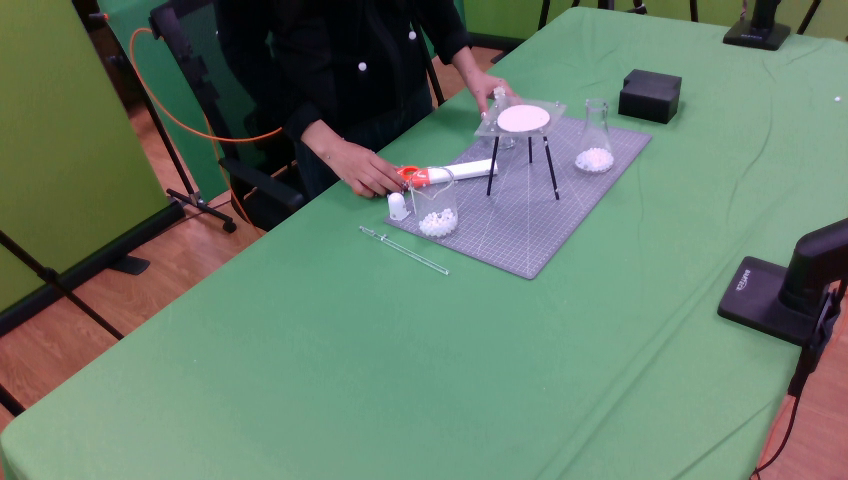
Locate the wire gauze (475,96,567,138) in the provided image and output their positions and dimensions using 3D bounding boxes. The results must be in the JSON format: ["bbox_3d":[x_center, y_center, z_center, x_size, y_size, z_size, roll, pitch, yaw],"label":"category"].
[{"bbox_3d":[0.161,-0.201,0.994,0.121,0.011,0.125,11,43,23],"label":"wire gauze"}]

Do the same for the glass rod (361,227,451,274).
[{"bbox_3d":[-0.033,0.015,0.985,0.198,0.008,0.008,26,52,34],"label":"glass rod"}]

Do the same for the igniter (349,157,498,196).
[{"bbox_3d":[-0.002,-0.117,1.118,0.276,0.025,0.057,-9,53,2],"label":"igniter"}]

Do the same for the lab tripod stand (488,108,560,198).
[{"bbox_3d":[0.173,-0.150,1.037,0.148,0.132,0.147,-6,38,6],"label":"lab tripod stand"}]

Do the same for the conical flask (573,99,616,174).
[{"bbox_3d":[0.302,-0.184,1.061,0.075,0.122,0.075,-5,40,5],"label":"conical flask"}]

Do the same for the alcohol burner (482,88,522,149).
[{"bbox_3d":[0.149,-0.237,1.160,0.078,0.119,0.077,-4,40,4],"label":"alcohol burner"}]

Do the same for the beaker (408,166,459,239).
[{"bbox_3d":[0.018,-0.057,0.984,0.074,0.101,0.083,-6,41,5],"label":"beaker"}]

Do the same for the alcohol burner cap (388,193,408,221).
[{"bbox_3d":[-0.047,-0.059,1.043,0.034,0.048,0.033,-6,41,5],"label":"alcohol burner cap"}]
